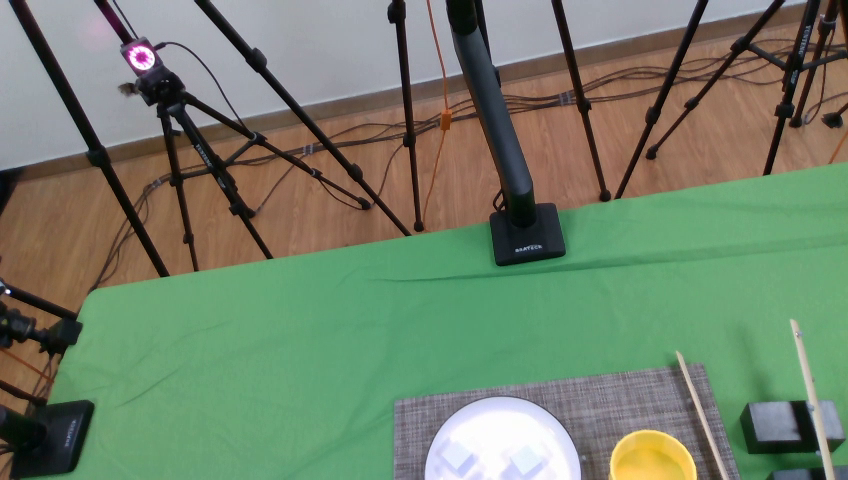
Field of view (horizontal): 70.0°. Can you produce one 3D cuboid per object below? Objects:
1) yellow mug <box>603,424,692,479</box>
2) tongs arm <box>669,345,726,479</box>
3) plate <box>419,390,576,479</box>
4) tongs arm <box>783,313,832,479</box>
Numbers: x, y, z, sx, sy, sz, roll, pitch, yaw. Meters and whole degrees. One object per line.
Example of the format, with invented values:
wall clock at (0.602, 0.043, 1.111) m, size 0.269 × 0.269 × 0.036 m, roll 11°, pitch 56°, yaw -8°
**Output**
yellow mug at (0.269, 0.300, 0.750) m, size 0.099 × 0.064 × 0.130 m, roll 19°, pitch 61°, yaw 26°
tongs arm at (0.380, 0.299, 0.743) m, size 0.028 × 0.028 × 0.383 m, roll -28°, pitch 48°, yaw 22°
plate at (0.098, 0.306, 0.811) m, size 0.207 × 0.039 × 0.205 m, roll -7°, pitch 53°, yaw 10°
tongs arm at (0.443, 0.269, 0.701) m, size 0.050 × 0.027 × 0.381 m, roll -19°, pitch 53°, yaw 33°
